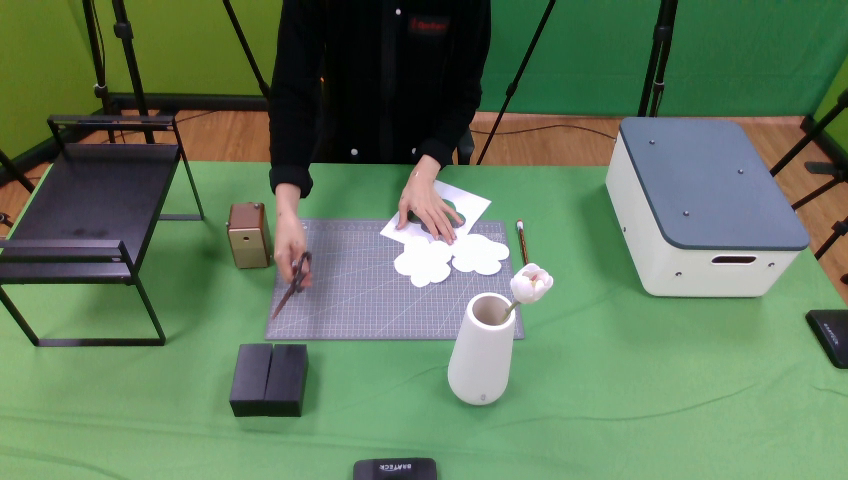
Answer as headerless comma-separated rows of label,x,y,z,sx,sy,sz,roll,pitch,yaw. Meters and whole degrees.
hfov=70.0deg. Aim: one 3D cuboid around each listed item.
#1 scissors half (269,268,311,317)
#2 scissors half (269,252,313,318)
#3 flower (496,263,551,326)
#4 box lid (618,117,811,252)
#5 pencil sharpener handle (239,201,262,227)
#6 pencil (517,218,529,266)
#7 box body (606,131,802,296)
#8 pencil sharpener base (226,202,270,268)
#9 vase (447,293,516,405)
scissors half,-0.224,0.090,1.016,0.013,0.040,0.175,16,20,5
scissors half,-0.221,0.072,1.007,0.013,0.040,0.174,11,36,7
flower,0.102,0.120,0.853,0.044,0.363,0.038,-1,64,-10
box lid,0.534,-0.117,1.148,0.263,0.015,0.369,0,47,-3
pencil sharpener handle,-0.325,-0.055,1.150,0.036,0.068,0.030,-12,46,3
pencil,0.200,0.028,1.196,0.012,0.012,0.193,1,48,-3
box body,0.530,-0.067,1.204,0.254,0.161,0.361,0,46,-4
pencil sharpener base,-0.323,-0.010,1.123,0.061,0.107,0.076,-3,46,-7
vase,0.091,0.169,0.921,0.098,0.201,0.097,3,47,-3
